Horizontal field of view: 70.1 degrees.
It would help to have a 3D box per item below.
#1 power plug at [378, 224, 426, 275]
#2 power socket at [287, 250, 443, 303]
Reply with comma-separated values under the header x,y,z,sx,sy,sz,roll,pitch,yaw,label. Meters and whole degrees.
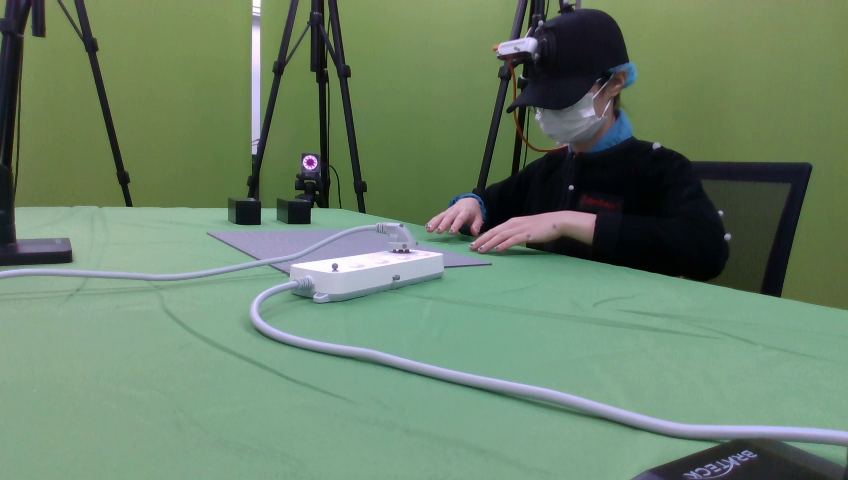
x,y,z,sx,sy,sz,roll,pitch,yaw,label
-0.025,0.009,0.729,0.053,0.035,0.072,5,27,-23,power plug
-0.059,0.035,0.688,0.072,0.032,0.228,6,8,34,power socket
